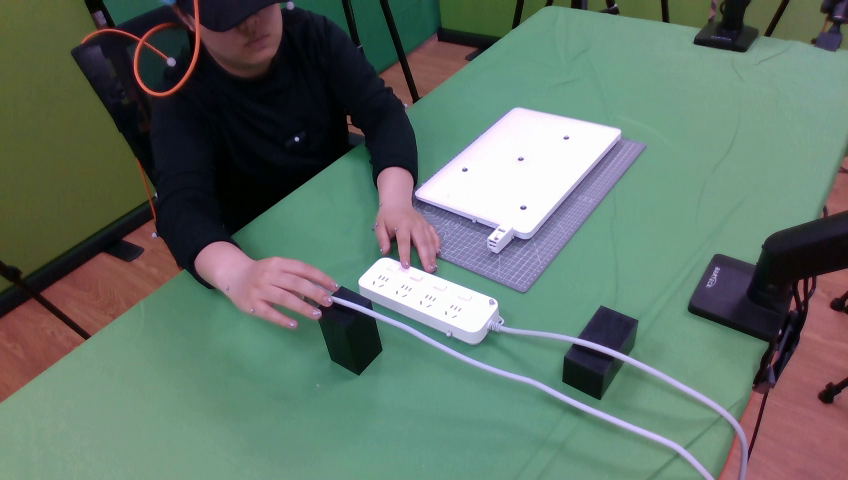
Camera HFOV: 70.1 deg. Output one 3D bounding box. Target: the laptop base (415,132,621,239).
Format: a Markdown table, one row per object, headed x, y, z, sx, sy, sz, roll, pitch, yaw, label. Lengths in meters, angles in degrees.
| x | y | z | sx | sy | sz | roll | pitch | yaw | label |
| --- | --- | --- | --- | --- | --- | --- | --- | --- | --- |
| 0.179 | -0.134 | 1.101 | 0.233 | 0.023 | 0.355 | 20 | 47 | 33 | laptop base |

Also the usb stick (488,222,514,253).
| x | y | z | sx | sy | sz | roll | pitch | yaw | label |
| --- | --- | --- | --- | --- | --- | --- | --- | --- | --- |
| 0.124 | -0.008 | 0.943 | 0.021 | 0.027 | 0.059 | 26 | 48 | 31 | usb stick |

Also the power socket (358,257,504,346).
| x | y | z | sx | sy | sz | roll | pitch | yaw | label |
| --- | --- | --- | --- | --- | --- | --- | --- | --- | --- |
| 0.003 | 0.084 | 0.862 | 0.225 | 0.033 | 0.072 | 20 | 49 | 28 | power socket |

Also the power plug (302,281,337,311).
| x | y | z | sx | sy | sz | roll | pitch | yaw | label |
| --- | --- | --- | --- | --- | --- | --- | --- | --- | --- |
| -0.133 | 0.081 | 0.783 | 0.035 | 0.053 | 0.072 | -40 | 47 | -9 | power plug |

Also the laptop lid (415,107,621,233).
| x | y | z | sx | sy | sz | roll | pitch | yaw | label |
| --- | --- | --- | --- | --- | --- | --- | --- | --- | --- |
| 0.175 | -0.144 | 1.094 | 0.239 | 0.013 | 0.358 | 23 | 48 | 33 | laptop lid |
